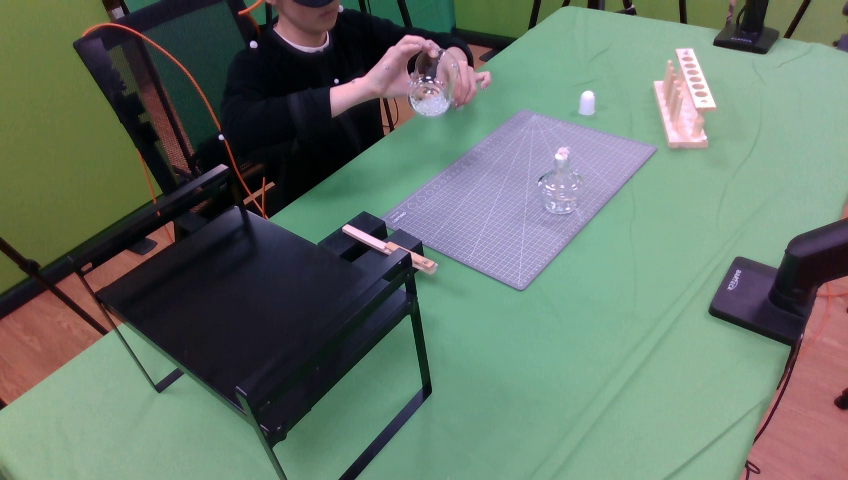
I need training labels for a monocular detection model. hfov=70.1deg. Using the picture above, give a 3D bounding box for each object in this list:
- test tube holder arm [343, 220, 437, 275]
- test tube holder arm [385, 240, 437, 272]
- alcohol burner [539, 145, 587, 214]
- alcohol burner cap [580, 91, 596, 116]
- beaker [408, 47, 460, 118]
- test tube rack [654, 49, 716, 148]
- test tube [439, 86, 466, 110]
[{"bbox_3d":[-0.054,0.009,0.899,0.177,0.013,0.015,26,58,30],"label":"test tube holder arm"},{"bbox_3d":[-0.020,0.022,0.872,0.087,0.010,0.015,26,58,31],"label":"test tube holder arm"},{"bbox_3d":[0.226,-0.102,0.986,0.078,0.119,0.077,-6,41,6],"label":"alcohol burner"},{"bbox_3d":[0.338,-0.283,1.238,0.034,0.048,0.033,-5,42,5],"label":"alcohol burner cap"},{"bbox_3d":[0.017,-0.251,0.979,0.074,0.084,0.100,-5,43,17],"label":"beaker"},{"bbox_3d":[0.502,-0.281,1.176,0.066,0.085,0.241,2,41,11],"label":"test tube rack"},{"bbox_3d":[0.054,-0.258,1.107,0.017,0.017,0.151,7,4,16],"label":"test tube"}]
